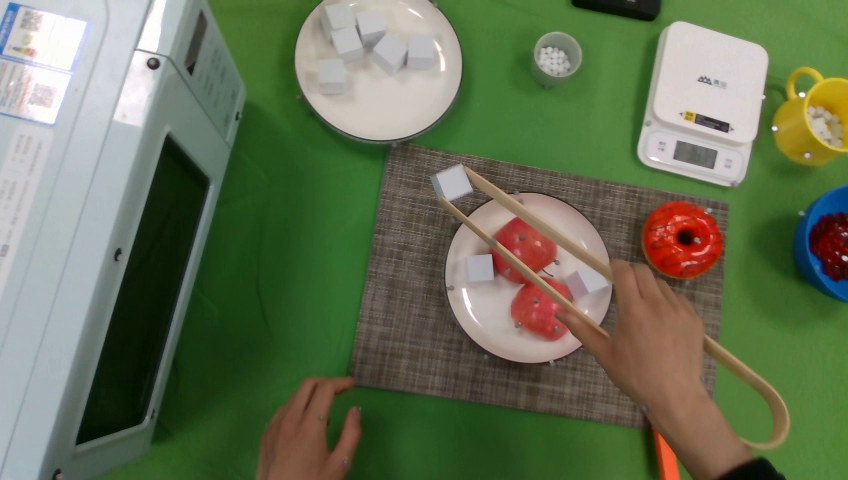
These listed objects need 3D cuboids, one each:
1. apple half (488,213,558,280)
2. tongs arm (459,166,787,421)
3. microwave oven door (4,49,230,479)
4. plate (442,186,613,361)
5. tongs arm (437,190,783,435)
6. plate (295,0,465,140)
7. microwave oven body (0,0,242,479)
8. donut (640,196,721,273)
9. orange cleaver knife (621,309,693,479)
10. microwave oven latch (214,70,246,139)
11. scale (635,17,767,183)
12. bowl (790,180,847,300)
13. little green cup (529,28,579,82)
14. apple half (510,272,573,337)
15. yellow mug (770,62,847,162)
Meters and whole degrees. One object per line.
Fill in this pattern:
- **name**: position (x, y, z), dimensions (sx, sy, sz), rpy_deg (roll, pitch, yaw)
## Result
- **apple half**: position (0.120, 0.002, 0.724), dimensions (0.081, 0.053, 0.074), rpy_deg (-34, 83, -10)
- **tongs arm**: position (0.184, 0.041, 0.602), dimensions (0.385, 0.028, 0.028), rpy_deg (38, 70, 14)
- **microwave oven door**: position (-0.270, 0.034, 0.575), dimensions (0.039, 0.244, 0.354), rpy_deg (12, 80, -3)
- **plate**: position (0.123, 0.040, 0.734), dimensions (0.209, 0.038, 0.208), rpy_deg (1, 81, -6)
- **tongs arm**: position (0.168, 0.059, 0.595), dimensions (0.382, 0.027, 0.050), rpy_deg (42, 75, 15)
- **plate**: position (-0.054, -0.222, 0.758), dimensions (0.208, 0.039, 0.207), rpy_deg (1, 81, -6)
- **microwave oven body**: position (-0.404, -0.038, 0.577), dimensions (0.326, 0.260, 0.440), rpy_deg (13, 81, -4)
- **donut**: position (0.319, -0.007, 0.759), dimensions (0.099, 0.048, 0.098), rpy_deg (1, 82, -4)
- **orange cleaver knife**: position (0.294, 0.187, 0.739), dimensions (0.077, 0.012, 0.210), rpy_deg (-7, 81, -13)
- **microwave oven latch**: position (-0.232, -0.161, 0.711), dimensions (0.030, 0.029, 0.079), rpy_deg (15, 81, -4)
- **scale**: position (0.367, -0.185, 0.800), dimensions (0.149, 0.031, 0.200), rpy_deg (14, 81, -3)
- **bowl**: position (0.523, 0.006, 0.765), dimensions (0.151, 0.077, 0.151), rpy_deg (1, 82, -5)
- **little green cup**: position (0.165, -0.237, 0.783), dimensions (0.061, 0.039, 0.061), rpy_deg (1, 81, -5)
- **apple half**: position (0.145, 0.075, 0.724), dimensions (0.081, 0.033, 0.081), rpy_deg (0, 83, -2)
- **yellow mug**: position (0.516, -0.173, 0.797), dimensions (0.100, 0.064, 0.130), rpy_deg (-23, 84, -8)
